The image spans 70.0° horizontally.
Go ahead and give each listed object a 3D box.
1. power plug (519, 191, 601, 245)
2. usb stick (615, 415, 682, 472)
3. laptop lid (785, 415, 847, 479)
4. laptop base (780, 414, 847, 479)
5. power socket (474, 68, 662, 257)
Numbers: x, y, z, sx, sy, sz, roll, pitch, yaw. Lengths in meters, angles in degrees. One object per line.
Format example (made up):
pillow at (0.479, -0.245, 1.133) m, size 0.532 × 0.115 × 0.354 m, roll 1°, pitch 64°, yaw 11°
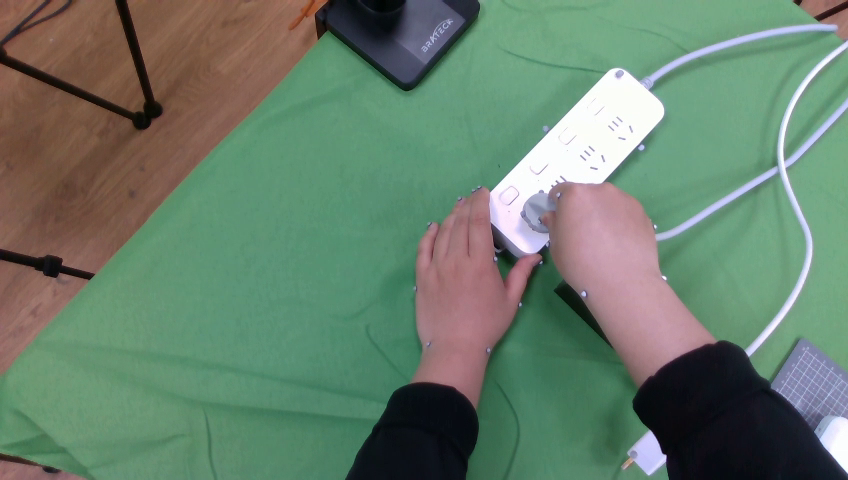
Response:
power plug at (0.112, -0.011, 0.530) m, size 0.035 × 0.053 × 0.072 m, roll -31°, pitch 78°, yaw -15°
usb stick at (0.192, 0.180, 0.524) m, size 0.059 × 0.022 × 0.027 m, roll -47°, pitch 61°, yaw 14°
laptop lid at (0.434, 0.354, 0.526) m, size 0.356 × 0.013 × 0.241 m, roll 41°, pitch 80°, yaw 3°
laptop base at (0.435, 0.354, 0.537) m, size 0.354 × 0.023 × 0.235 m, roll 40°, pitch 81°, yaw 2°
power socket at (0.140, -0.076, 0.583) m, size 0.072 × 0.032 × 0.226 m, roll 44°, pitch 78°, yaw 3°
